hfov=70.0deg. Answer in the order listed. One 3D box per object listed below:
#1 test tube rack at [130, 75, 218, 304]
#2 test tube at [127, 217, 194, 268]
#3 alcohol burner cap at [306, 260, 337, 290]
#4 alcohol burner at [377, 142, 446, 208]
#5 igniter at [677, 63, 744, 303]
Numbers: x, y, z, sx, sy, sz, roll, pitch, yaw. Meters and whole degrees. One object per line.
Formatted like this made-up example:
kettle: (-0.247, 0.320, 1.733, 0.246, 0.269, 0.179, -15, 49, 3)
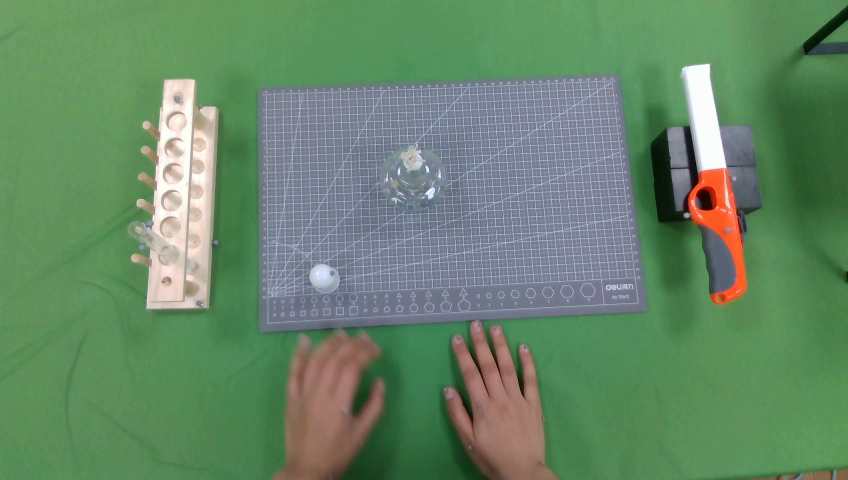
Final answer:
test tube rack: (-0.282, -0.053, 0.677, 0.067, 0.085, 0.241, -1, 79, -2)
test tube: (-0.264, 0.005, 0.616, 0.017, 0.151, 0.017, 1, 75, -3)
alcohol burner cap: (-0.117, 0.038, 0.684, 0.034, 0.048, 0.033, 1, 79, -2)
alcohol burner: (-0.014, -0.077, 0.673, 0.078, 0.119, 0.077, 0, 80, -1)
igniter: (0.320, -0.068, 0.682, 0.057, 0.025, 0.275, -5, 78, 8)
